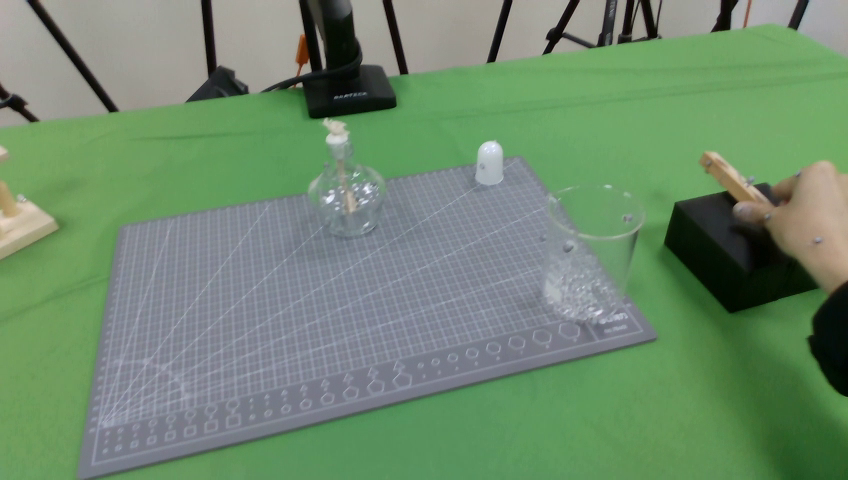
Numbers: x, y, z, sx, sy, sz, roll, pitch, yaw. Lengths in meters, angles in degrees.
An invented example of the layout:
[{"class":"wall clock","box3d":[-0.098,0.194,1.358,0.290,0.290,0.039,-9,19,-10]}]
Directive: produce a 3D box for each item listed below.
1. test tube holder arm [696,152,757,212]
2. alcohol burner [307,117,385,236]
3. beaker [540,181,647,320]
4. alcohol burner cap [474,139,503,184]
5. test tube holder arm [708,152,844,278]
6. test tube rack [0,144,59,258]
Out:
[{"class":"test tube holder arm","box3d":[0.286,-0.056,0.570,0.010,0.015,0.087,-7,40,-12]},{"class":"alcohol burner","box3d":[-0.078,-0.064,0.593,0.078,0.120,0.077,-3,39,2]},{"class":"beaker","box3d":[0.134,0.011,0.506,0.074,0.101,0.083,-33,48,-31]},{"class":"alcohol burner cap","box3d":[0.072,-0.090,0.672,0.034,0.048,0.033,-1,40,1]},{"class":"test tube holder arm","box3d":[0.303,-0.029,0.538,0.013,0.015,0.176,-7,40,-14]},{"class":"test tube rack","box3d":[-0.484,0.005,0.554,0.066,0.086,0.242,26,48,29]}]
